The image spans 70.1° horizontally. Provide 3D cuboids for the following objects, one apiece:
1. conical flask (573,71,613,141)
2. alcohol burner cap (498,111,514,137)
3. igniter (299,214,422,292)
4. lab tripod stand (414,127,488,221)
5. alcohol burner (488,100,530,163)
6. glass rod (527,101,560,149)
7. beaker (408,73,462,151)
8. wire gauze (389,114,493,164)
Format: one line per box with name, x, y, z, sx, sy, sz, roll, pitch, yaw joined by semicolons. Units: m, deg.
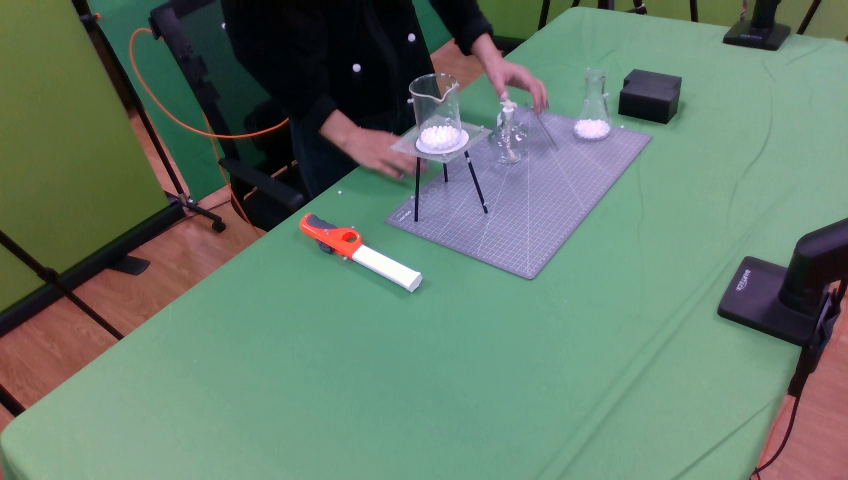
conical flask;0.321;-0.256;1.142;0.075;0.122;0.075;-5;40;5
alcohol burner cap;0.163;-0.234;1.211;0.034;0.048;0.033;-6;39;6
igniter;-0.113;0.016;0.983;0.274;0.025;0.057;26;62;35
lab tripod stand;0.035;-0.114;1.021;0.148;0.132;0.147;-7;39;6
alcohol burner;0.157;-0.204;1.119;0.078;0.119;0.077;-5;38;4
glass rod;0.240;-0.237;1.223;0.008;0.008;0.198;-12;40;-2
beaker;0.021;-0.196;0.943;0.074;0.101;0.083;-17;39;-7
wire gauze;0.027;-0.163;0.978;0.120;0.011;0.125;22;50;36
